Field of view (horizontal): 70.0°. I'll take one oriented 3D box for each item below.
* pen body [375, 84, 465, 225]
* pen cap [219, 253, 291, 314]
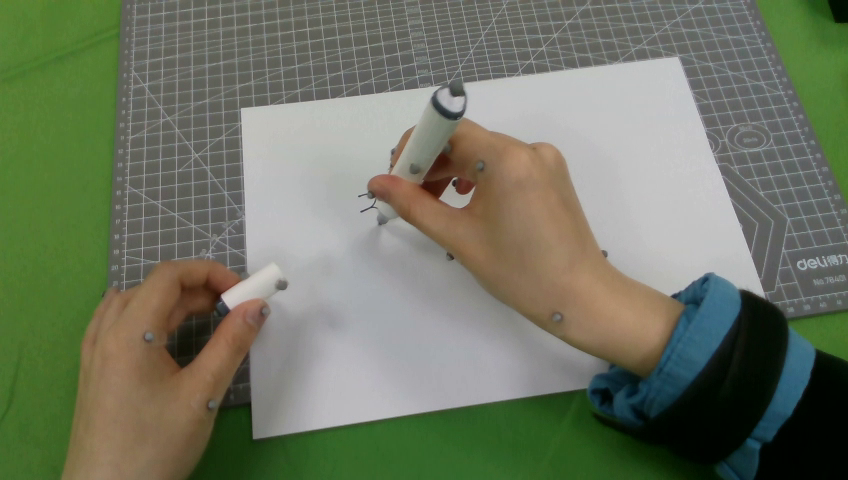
[{"bbox_3d":[-0.008,-0.033,0.303,0.017,0.144,0.017,5,70,-15],"label":"pen body"},{"bbox_3d":[-0.090,0.024,0.320,0.038,0.017,0.017,-35,71,7],"label":"pen cap"}]
